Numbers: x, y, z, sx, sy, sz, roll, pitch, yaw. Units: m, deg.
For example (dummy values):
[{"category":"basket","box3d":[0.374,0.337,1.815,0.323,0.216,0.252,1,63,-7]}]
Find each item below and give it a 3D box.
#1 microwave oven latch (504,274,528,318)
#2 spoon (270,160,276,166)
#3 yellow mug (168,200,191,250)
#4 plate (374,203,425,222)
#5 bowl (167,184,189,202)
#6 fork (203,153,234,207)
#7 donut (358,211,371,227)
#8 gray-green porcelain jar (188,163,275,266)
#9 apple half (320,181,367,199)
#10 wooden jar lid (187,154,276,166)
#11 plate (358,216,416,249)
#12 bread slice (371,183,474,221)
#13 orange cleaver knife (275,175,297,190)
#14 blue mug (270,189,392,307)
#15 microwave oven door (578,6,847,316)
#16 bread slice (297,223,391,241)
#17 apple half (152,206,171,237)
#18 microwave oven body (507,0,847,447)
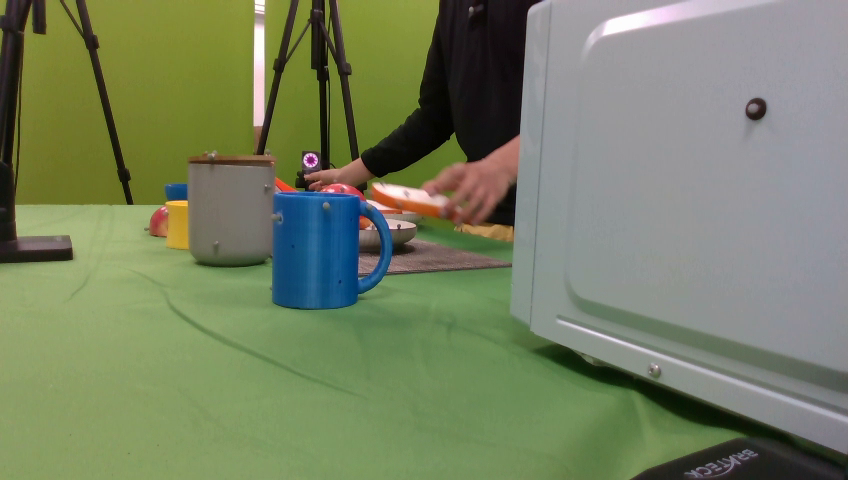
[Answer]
[{"category":"microwave oven latch","box3d":[0.100,0.041,0.471,0.079,0.029,0.030,-1,8,-28]},{"category":"spoon","box3d":[-0.396,-0.150,1.548,0.042,0.193,0.021,3,-37,-4]},{"category":"yellow mug","box3d":[-0.320,-0.023,0.904,0.130,0.064,0.100,8,10,36]},{"category":"plate","box3d":[-0.102,-0.053,1.299,0.209,0.038,0.209,2,8,0]},{"category":"bowl","box3d":[-0.408,-0.064,1.154,0.151,0.077,0.151,2,8,0]},{"category":"fork","box3d":[-0.480,-0.135,1.411,0.028,0.018,0.207,1,-34,0]},{"category":"donut","box3d":[-0.129,-0.041,0.956,0.099,0.048,0.099,2,8,0]},{"category":"gray-green porcelain jar","box3d":[-0.246,-0.034,0.780,0.106,0.126,0.106,1,7,0]},{"category":"apple half","box3d":[-0.128,-0.076,0.950,0.081,0.033,0.081,2,14,0]},{"category":"wooden jar lid","box3d":[-0.244,-0.097,0.771,0.108,0.020,0.108,-1,7,0]},{"category":"plate","box3d":[-0.116,-0.014,0.967,0.208,0.039,0.207,2,7,0]},{"category":"bread slice","box3d":[-0.006,-0.055,0.829,0.132,0.019,0.104,9,13,-23]},{"category":"orange cleaver knife","box3d":[-0.283,-0.087,1.343,0.212,0.077,0.012,24,-16,-41]},{"category":"blue mug","box3d":[-0.089,0.005,0.588,0.117,0.106,0.082,1,7,-10]},{"category":"microwave oven door","box3d":[0.294,-0.067,0.570,0.358,0.243,0.039,-3,9,-31]},{"category":"bread slice","box3d":[-0.121,-0.014,0.970,0.106,0.018,0.135,9,9,40]},{"category":"apple half","box3d":[-0.415,-0.034,1.017,0.081,0.053,0.074,1,10,-8]},{"category":"microwave oven body","box3d":[0.331,-0.042,0.425,0.444,0.260,0.324,-2,8,-31]}]
